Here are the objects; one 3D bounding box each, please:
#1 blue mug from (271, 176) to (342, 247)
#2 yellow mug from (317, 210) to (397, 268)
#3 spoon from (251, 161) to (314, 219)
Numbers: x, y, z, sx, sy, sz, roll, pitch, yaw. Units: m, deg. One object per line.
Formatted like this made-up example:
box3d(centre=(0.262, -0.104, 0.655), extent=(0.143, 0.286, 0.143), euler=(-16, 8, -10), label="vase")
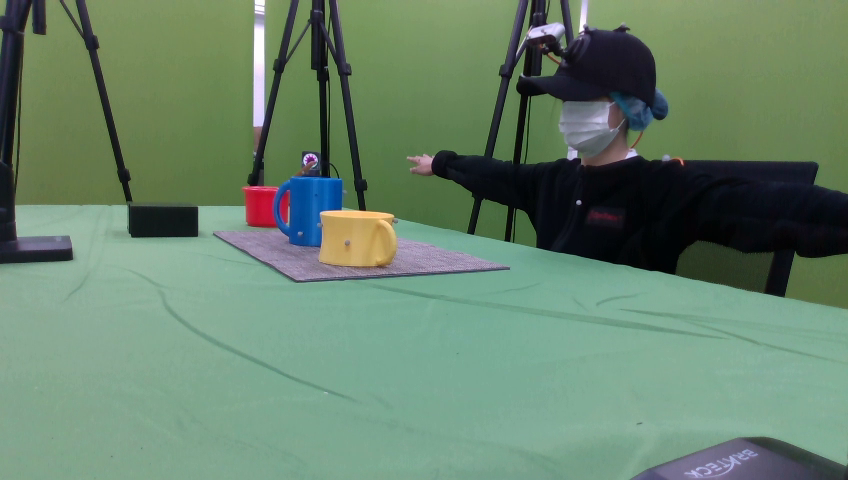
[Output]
box3d(centre=(-0.190, -0.047, 0.963), extent=(0.116, 0.106, 0.082), euler=(4, 7, 13), label="blue mug")
box3d(centre=(-0.081, -0.001, 0.796), extent=(0.130, 0.064, 0.100), euler=(11, 11, 44), label="yellow mug")
box3d(centre=(-0.280, -0.097, 1.194), extent=(0.193, 0.021, 0.042), euler=(-43, -15, 26), label="spoon")
